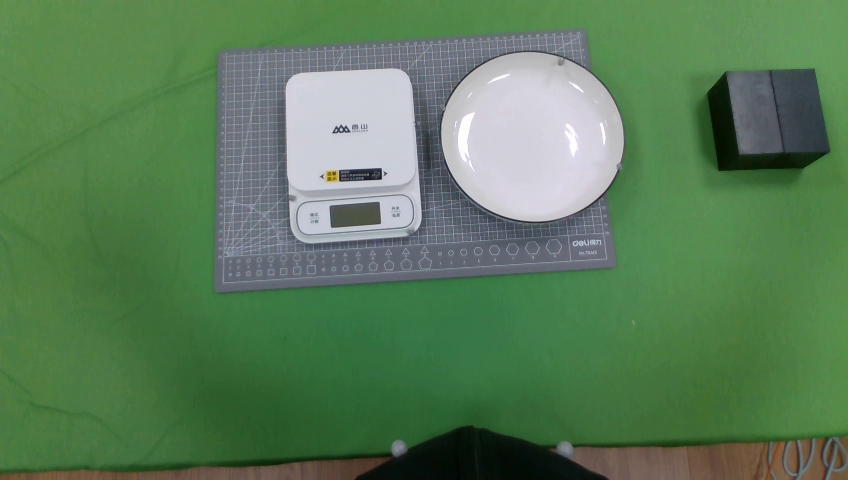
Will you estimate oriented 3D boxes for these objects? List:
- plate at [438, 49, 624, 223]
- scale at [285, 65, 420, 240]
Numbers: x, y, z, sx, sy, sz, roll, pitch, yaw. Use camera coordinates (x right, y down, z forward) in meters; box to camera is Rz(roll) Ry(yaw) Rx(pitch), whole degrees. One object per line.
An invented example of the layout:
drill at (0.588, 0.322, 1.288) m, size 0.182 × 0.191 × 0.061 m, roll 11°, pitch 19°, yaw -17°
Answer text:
plate at (0.120, -0.116, 0.693) m, size 0.209 × 0.038 × 0.208 m, roll 0°, pitch 77°, yaw 0°
scale at (-0.084, -0.103, 0.695) m, size 0.149 × 0.032 × 0.200 m, roll -4°, pitch 78°, yaw 0°
